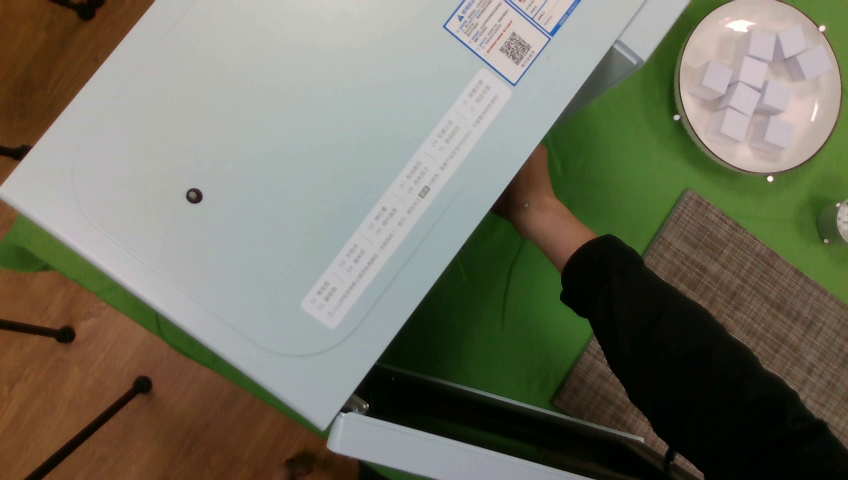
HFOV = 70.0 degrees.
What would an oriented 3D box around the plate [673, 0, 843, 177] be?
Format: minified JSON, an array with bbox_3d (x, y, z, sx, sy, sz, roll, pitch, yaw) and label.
[{"bbox_3d":[0.389,-0.176,0.719,0.208,0.039,0.207,0,89,-7],"label":"plate"}]

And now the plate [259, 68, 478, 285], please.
[{"bbox_3d":[-0.052,-0.061,0.590,0.210,0.038,0.209,1,88,-10],"label":"plate"}]

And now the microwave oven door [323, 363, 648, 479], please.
[{"bbox_3d":[0.087,0.188,0.556,0.357,0.243,0.039,17,86,-6],"label":"microwave oven door"}]

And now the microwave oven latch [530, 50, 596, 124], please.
[{"bbox_3d":[0.154,-0.168,0.670,0.030,0.029,0.079,42,85,-5],"label":"microwave oven latch"}]

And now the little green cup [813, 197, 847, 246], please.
[{"bbox_3d":[0.507,-0.022,0.731,0.061,0.038,0.061,0,88,-7],"label":"little green cup"}]

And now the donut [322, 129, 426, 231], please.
[{"bbox_3d":[-0.047,-0.057,0.581,0.099,0.048,0.099,0,95,-5],"label":"donut"}]

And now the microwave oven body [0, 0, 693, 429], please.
[{"bbox_3d":[-0.060,-0.120,0.547,0.327,0.260,0.441,38,86,-5],"label":"microwave oven body"}]
